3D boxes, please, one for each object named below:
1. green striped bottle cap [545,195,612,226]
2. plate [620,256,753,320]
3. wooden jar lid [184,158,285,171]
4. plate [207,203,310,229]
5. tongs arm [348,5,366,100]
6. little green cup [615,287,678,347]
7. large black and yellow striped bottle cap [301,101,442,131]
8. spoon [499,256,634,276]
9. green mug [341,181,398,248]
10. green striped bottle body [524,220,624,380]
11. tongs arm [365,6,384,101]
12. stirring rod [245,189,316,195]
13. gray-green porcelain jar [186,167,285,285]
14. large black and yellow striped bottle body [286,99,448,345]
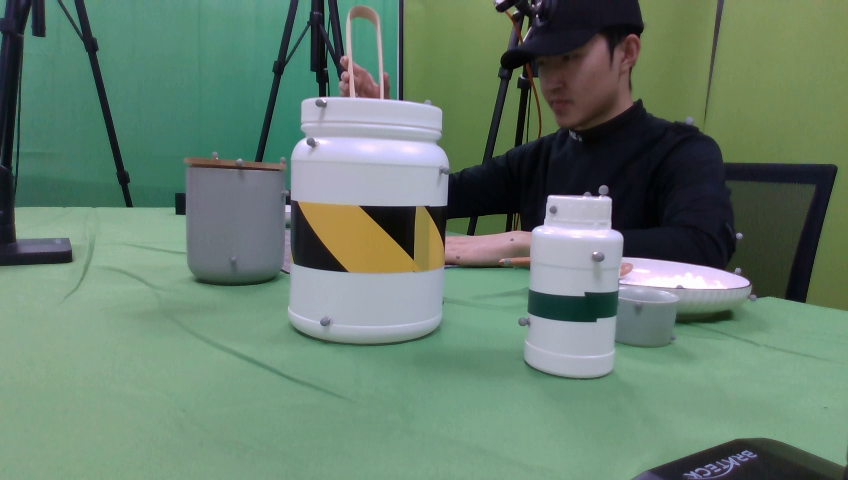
[{"bbox_3d":[0.106,-0.020,0.414,0.044,0.020,0.044,2,4,0],"label":"green striped bottle cap"},{"bbox_3d":[0.234,0.049,0.651,0.209,0.038,0.209,2,7,0],"label":"plate"},{"bbox_3d":[-0.210,-0.078,0.674,0.108,0.020,0.108,5,6,0],"label":"wooden jar lid"},{"bbox_3d":[-0.342,-0.050,1.259,0.208,0.039,0.207,2,7,0],"label":"plate"},{"bbox_3d":[-0.108,-0.275,1.064,0.051,0.383,0.026,-2,-30,-14],"label":"tongs arm"},{"bbox_3d":[0.180,0.064,0.506,0.061,0.038,0.061,1,8,0],"label":"little green cup"},{"bbox_3d":[-0.042,-0.100,0.491,0.115,0.019,0.115,1,8,0],"label":"large black and yellow striped bottle cap"},{"bbox_3d":[0.162,0.027,0.679,0.195,0.021,0.041,8,2,-30],"label":"spoon"},{"bbox_3d":[-0.089,-0.044,0.997,0.093,0.105,0.125,1,7,-8],"label":"green mug"},{"bbox_3d":[0.104,0.031,0.422,0.063,0.119,0.063,2,8,0],"label":"green striped bottle body"},{"bbox_3d":[-0.085,-0.274,1.069,0.028,0.386,0.028,0,-30,-9],"label":"tongs arm"},{"bbox_3d":[-0.351,-0.119,1.489,0.177,0.014,0.006,-2,5,-28],"label":"stirring rod"},{"bbox_3d":[-0.212,-0.017,0.682,0.106,0.126,0.106,2,7,0],"label":"gray-green porcelain jar"},{"bbox_3d":[-0.047,-0.018,0.501,0.131,0.184,0.130,2,7,0],"label":"large black and yellow striped bottle body"}]
